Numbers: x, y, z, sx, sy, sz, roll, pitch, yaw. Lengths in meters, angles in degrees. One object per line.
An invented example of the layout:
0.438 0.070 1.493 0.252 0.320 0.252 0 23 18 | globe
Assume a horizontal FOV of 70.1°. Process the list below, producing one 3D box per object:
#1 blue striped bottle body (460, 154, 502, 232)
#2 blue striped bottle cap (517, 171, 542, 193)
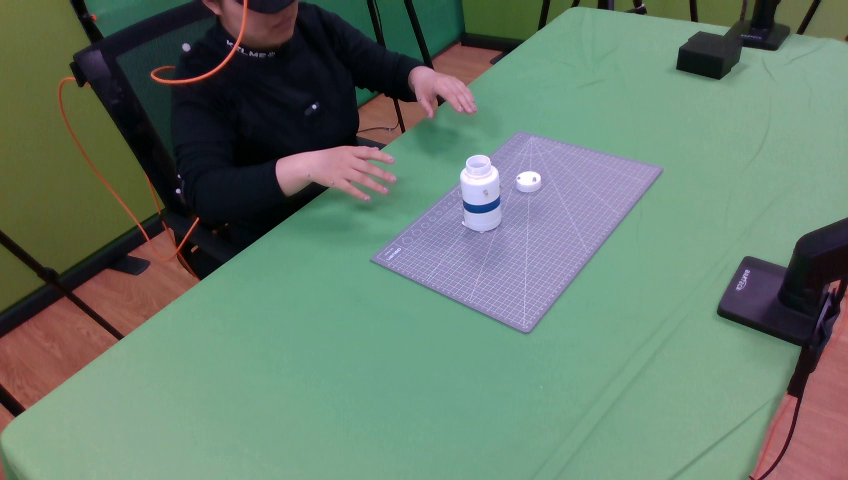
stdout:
0.092 -0.078 0.976 0.063 0.121 0.063 -6 40 5 | blue striped bottle body
0.187 -0.103 1.072 0.044 0.021 0.044 -5 42 5 | blue striped bottle cap
